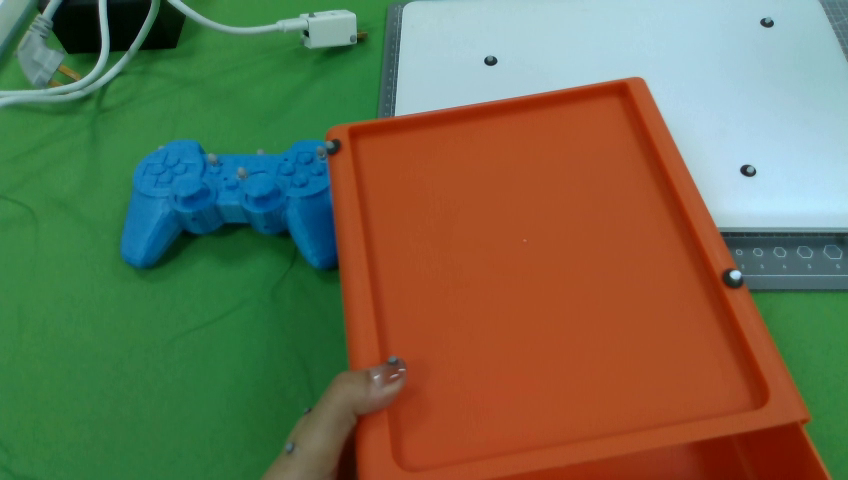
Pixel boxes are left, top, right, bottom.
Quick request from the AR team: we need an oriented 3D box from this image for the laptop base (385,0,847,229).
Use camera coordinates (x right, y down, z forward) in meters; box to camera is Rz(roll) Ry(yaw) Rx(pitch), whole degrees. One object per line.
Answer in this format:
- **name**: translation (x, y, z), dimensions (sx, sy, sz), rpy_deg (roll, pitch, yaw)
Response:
- **laptop base**: translation (0.152, -0.105, 0.473), dimensions (0.354, 0.023, 0.233), rpy_deg (0, 61, 3)

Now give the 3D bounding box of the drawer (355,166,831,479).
- **drawer**: translation (0.064, 0.054, 0.321), dimensions (0.194, 0.074, 0.209), rpy_deg (-9, 59, -3)

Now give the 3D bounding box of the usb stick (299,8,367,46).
- **usb stick**: translation (-0.077, -0.185, 0.524), dimensions (0.059, 0.027, 0.021), rpy_deg (-16, 35, -32)

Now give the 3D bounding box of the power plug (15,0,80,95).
- **power plug**: translation (-0.304, -0.159, 0.503), dimensions (0.072, 0.053, 0.035), rpy_deg (-53, 35, 5)

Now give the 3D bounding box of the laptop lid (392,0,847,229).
- **laptop lid**: translation (0.151, -0.109, 0.462), dimensions (0.356, 0.013, 0.239), rpy_deg (2, 60, 4)

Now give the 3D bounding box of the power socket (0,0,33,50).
- **power socket**: translation (-0.415, -0.232, 0.572), dimensions (0.072, 0.033, 0.225), rpy_deg (4, 58, 4)

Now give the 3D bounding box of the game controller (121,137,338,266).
- **game controller**: translation (-0.132, -0.032, 0.426), dimensions (0.155, 0.052, 0.096), rpy_deg (1, 54, 3)

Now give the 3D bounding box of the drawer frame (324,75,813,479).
- **drawer frame**: translation (0.056, 0.024, 0.337), dimensions (0.202, 0.083, 0.211), rpy_deg (-11, 59, -3)
